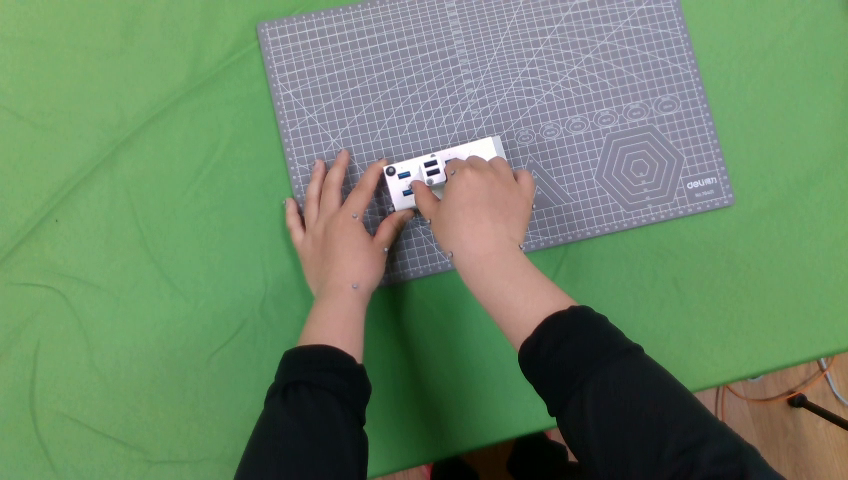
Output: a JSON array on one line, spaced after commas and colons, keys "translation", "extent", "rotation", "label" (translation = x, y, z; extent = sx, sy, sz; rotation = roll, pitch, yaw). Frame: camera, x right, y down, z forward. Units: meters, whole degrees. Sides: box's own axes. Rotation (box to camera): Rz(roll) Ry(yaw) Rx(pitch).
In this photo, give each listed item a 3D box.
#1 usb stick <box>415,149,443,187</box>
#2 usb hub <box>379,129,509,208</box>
[{"translation": [0.005, -0.068, 0.590], "extent": [0.021, 0.059, 0.027], "rotation": [-18, 83, -2], "label": "usb stick"}, {"translation": [0.020, -0.074, 0.621], "extent": [0.125, 0.025, 0.049], "rotation": [-16, 85, -4], "label": "usb hub"}]
